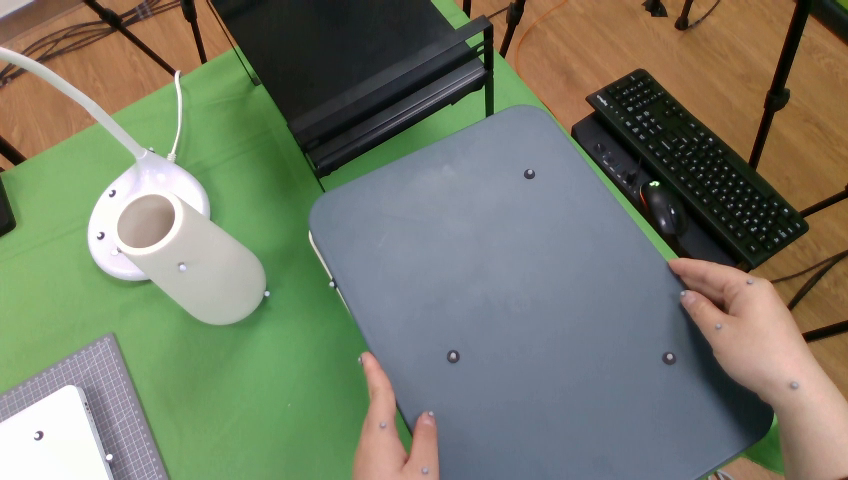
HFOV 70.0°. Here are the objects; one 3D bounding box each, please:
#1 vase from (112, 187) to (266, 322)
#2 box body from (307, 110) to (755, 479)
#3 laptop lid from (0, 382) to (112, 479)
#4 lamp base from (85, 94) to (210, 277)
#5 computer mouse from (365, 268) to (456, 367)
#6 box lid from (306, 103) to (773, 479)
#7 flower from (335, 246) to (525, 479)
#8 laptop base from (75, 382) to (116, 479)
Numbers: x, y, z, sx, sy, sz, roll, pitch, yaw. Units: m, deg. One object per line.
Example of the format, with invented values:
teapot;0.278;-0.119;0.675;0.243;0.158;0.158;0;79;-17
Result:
vase;-0.246;0.019;0.649;0.098;0.201;0.097;-3;66;7
box body;0.085;0.090;0.603;0.254;0.161;0.361;-30;67;-7
laptop lid;-0.487;0.334;0.624;0.357;0.013;0.239;-29;69;-7
lamp base;-0.360;-0.070;0.710;0.160;0.182;0.178;1;64;6
computer mouse;-0.018;0.083;0.678;0.063;0.041;0.116;-36;60;-5
box lid;0.079;0.051;0.517;0.263;0.015;0.368;-26;65;-10
flower;0.025;0.150;0.630;0.360;0.038;0.044;51;37;13
laptop base;-0.487;0.337;0.635;0.354;0.023;0.233;-31;70;-8
